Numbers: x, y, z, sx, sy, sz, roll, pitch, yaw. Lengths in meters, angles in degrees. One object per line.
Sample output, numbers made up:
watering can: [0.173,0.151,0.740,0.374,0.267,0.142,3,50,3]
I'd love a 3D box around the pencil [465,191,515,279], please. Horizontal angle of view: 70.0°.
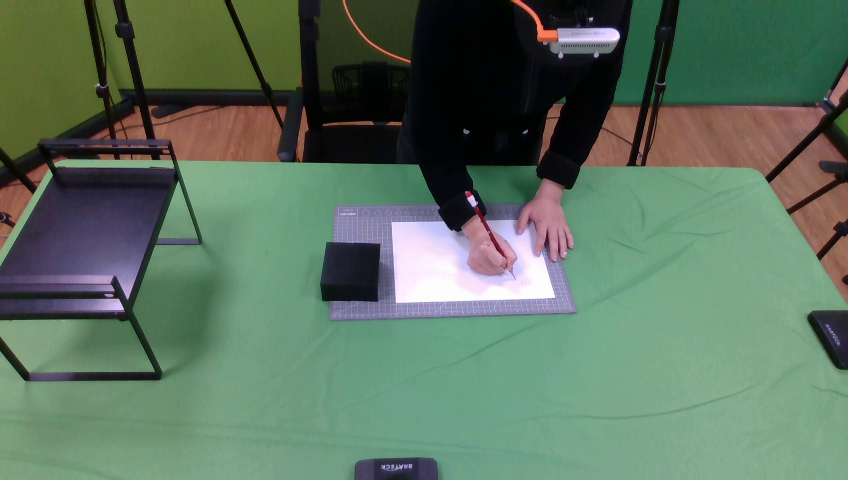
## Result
pencil: [0.125,-0.007,1.124,0.012,0.194,0.012,-28,15,8]
